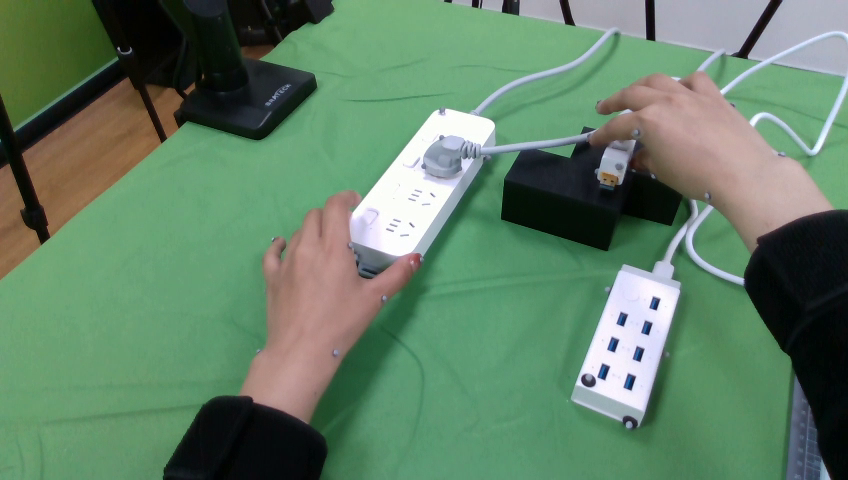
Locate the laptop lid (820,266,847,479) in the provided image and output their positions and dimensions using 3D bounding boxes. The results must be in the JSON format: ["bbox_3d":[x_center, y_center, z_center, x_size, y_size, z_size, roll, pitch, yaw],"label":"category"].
[{"bbox_3d":[0.435,0.150,0.361,0.354,0.013,0.240,20,53,20],"label":"laptop lid"}]

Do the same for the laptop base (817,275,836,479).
[{"bbox_3d":[0.437,0.157,0.372,0.352,0.023,0.234,19,54,18],"label":"laptop base"}]

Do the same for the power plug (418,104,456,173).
[{"bbox_3d":[0.015,-0.089,0.576,0.035,0.053,0.072,12,41,1],"label":"power plug"}]

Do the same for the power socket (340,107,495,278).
[{"bbox_3d":[0.000,-0.054,0.573,0.072,0.033,0.225,20,50,18],"label":"power socket"}]

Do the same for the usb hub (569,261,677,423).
[{"bbox_3d":[0.152,0.072,0.456,0.049,0.025,0.124,19,51,20],"label":"usb hub"}]

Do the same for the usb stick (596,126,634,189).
[{"bbox_3d":[0.162,-0.069,0.517,0.021,0.027,0.059,17,54,14],"label":"usb stick"}]
